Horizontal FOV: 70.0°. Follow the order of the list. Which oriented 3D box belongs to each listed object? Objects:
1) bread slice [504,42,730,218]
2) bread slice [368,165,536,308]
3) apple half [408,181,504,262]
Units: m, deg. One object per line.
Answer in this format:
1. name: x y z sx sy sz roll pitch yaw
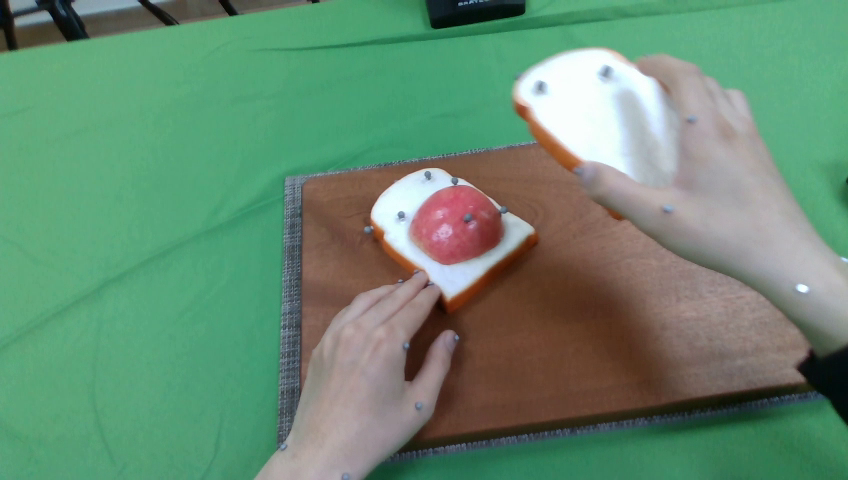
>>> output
1. bread slice: 0.119 -0.082 0.410 0.107 0.018 0.133 -34 66 -22
2. bread slice: 0.014 -0.013 0.521 0.105 0.019 0.130 -38 60 -22
3. apple half: 0.024 -0.022 0.497 0.081 0.033 0.080 -2 53 3
